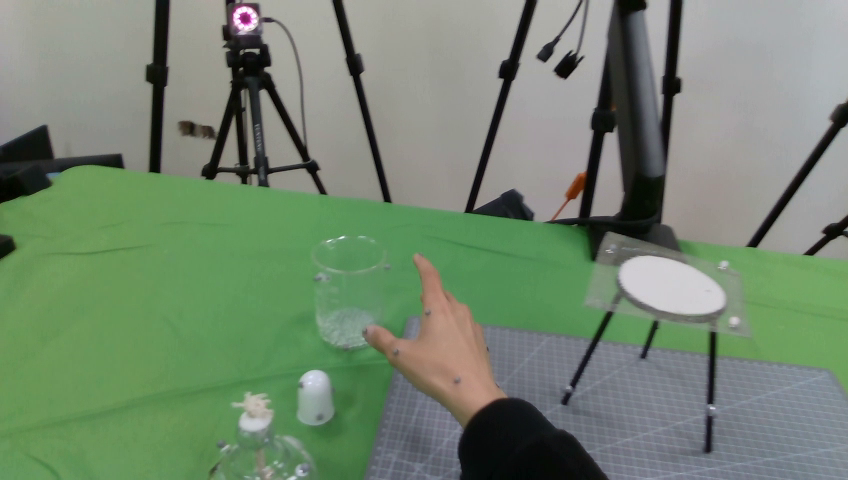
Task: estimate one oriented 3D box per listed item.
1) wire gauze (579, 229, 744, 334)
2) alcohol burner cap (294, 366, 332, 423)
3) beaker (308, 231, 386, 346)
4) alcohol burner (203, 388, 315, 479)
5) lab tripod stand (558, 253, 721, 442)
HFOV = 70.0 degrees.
[{"bbox_3d":[0.202,0.032,0.512,0.121,0.011,0.124,15,32,17],"label":"wire gauze"},{"bbox_3d":[-0.098,0.133,0.534,0.034,0.048,0.033,2,30,-1],"label":"alcohol burner cap"},{"bbox_3d":[-0.081,0.050,0.622,0.074,0.101,0.083,-19,36,-34],"label":"beaker"},{"bbox_3d":[-0.117,0.153,0.425,0.078,0.120,0.077,1,30,0],"label":"alcohol burner"},{"bbox_3d":[0.205,0.091,0.545,0.148,0.132,0.147,5,30,-2],"label":"lab tripod stand"}]
